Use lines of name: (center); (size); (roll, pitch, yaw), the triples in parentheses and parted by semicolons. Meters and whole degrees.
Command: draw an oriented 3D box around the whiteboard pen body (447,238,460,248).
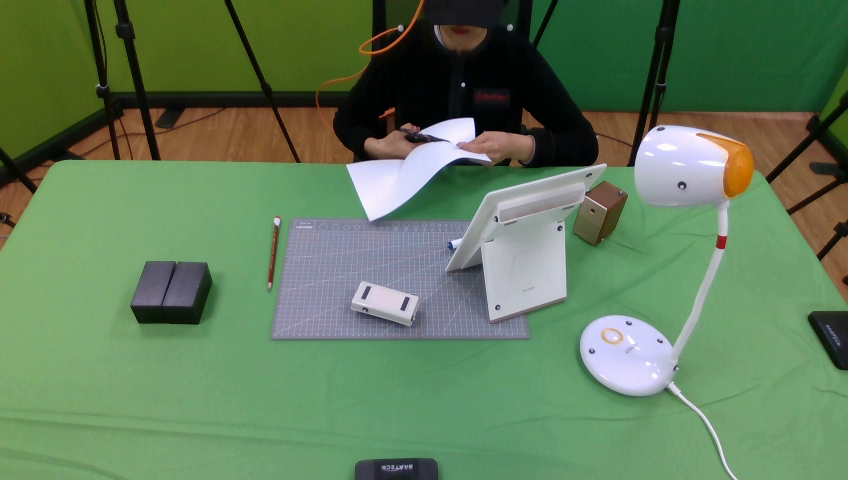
whiteboard pen body: (0.112, -0.006, 1.204); (0.141, 0.017, 0.017); (-14, 49, -18)

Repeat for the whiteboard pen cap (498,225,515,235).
whiteboard pen cap: (0.166, -0.019, 1.222); (0.033, 0.018, 0.018); (-14, 49, -19)

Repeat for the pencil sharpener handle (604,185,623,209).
pencil sharpener handle: (0.390, -0.091, 1.235); (0.030, 0.068, 0.036); (-33, 69, -31)

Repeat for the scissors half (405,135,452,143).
scissors half: (0.013, -0.229, 1.374); (0.040, 0.013, 0.174); (23, 0, -35)

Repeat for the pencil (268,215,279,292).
pencil: (-0.290, 0.022, 1.164); (0.012, 0.012, 0.192); (-2, 48, -6)

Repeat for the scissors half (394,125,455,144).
scissors half: (-0.001, -0.234, 1.359); (0.174, 0.013, 0.040); (21, 4, 32)

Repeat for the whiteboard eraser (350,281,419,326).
whiteboard eraser: (-0.069, 0.113, 1.065); (0.112, 0.042, 0.055); (14, 46, 9)

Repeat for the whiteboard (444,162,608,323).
whiteboard: (0.186, 0.025, 1.029); (0.217, 0.306, 0.143); (-14, 68, -18)

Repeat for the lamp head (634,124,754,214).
lamp head: (0.351, -0.089, 0.775); (0.112, 0.113, 0.122); (-30, 30, -28)

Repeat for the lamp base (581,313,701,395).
lamp base: (0.361, 0.144, 0.972); (0.178, 0.181, 0.160); (34, 53, 23)

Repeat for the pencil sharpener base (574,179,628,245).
pencil sharpener base: (0.355, -0.057, 1.217); (0.076, 0.107, 0.061); (-33, 56, -31)
